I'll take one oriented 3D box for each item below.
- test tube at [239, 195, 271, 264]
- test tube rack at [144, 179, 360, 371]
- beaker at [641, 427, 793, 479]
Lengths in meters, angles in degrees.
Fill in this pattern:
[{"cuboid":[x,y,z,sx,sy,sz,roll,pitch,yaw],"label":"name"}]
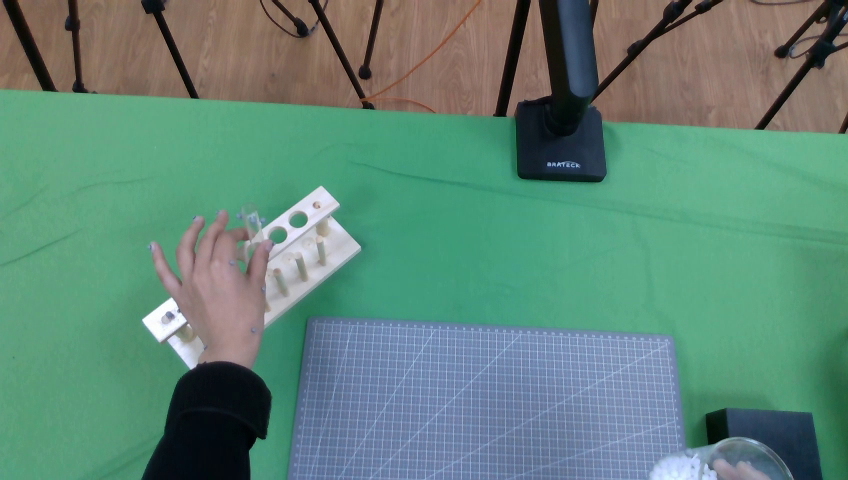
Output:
[{"cuboid":[-0.182,-0.007,0.660,0.017,0.151,0.017,3,65,-6],"label":"test tube"},{"cuboid":[-0.190,0.041,0.707,0.242,0.085,0.066,-40,75,-17],"label":"test tube rack"},{"cuboid":[0.218,0.193,0.466,0.074,0.101,0.083,29,66,6],"label":"beaker"}]
